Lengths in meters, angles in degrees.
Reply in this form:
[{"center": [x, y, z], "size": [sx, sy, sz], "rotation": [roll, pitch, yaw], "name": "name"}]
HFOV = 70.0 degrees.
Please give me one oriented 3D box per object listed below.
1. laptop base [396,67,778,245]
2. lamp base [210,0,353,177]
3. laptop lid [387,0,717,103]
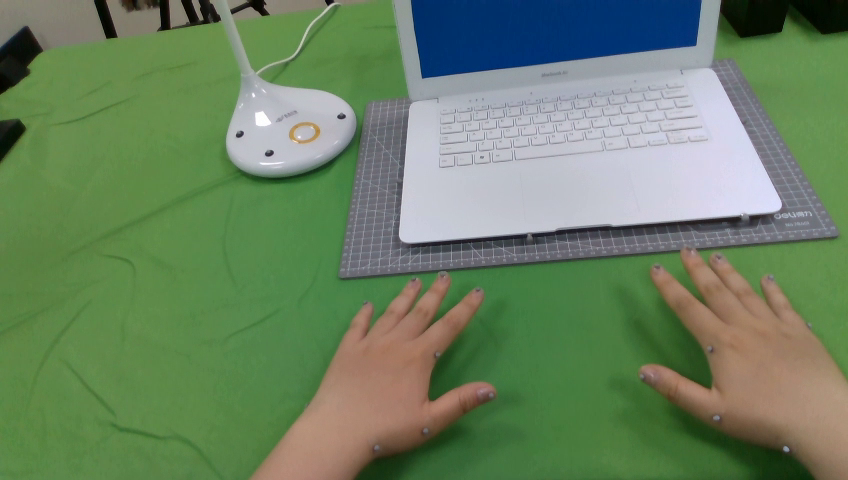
[{"center": [0.149, -0.092, 0.643], "size": [0.354, 0.023, 0.233], "rotation": [-5, 49, 7], "name": "laptop base"}, {"center": [-0.187, -0.189, 0.693], "size": [0.177, 0.182, 0.160], "rotation": [26, 56, 34], "name": "lamp base"}, {"center": [0.135, -0.270, 0.650], "size": [0.356, 0.244, 0.013], "rotation": [-6, 38, 8], "name": "laptop lid"}]
